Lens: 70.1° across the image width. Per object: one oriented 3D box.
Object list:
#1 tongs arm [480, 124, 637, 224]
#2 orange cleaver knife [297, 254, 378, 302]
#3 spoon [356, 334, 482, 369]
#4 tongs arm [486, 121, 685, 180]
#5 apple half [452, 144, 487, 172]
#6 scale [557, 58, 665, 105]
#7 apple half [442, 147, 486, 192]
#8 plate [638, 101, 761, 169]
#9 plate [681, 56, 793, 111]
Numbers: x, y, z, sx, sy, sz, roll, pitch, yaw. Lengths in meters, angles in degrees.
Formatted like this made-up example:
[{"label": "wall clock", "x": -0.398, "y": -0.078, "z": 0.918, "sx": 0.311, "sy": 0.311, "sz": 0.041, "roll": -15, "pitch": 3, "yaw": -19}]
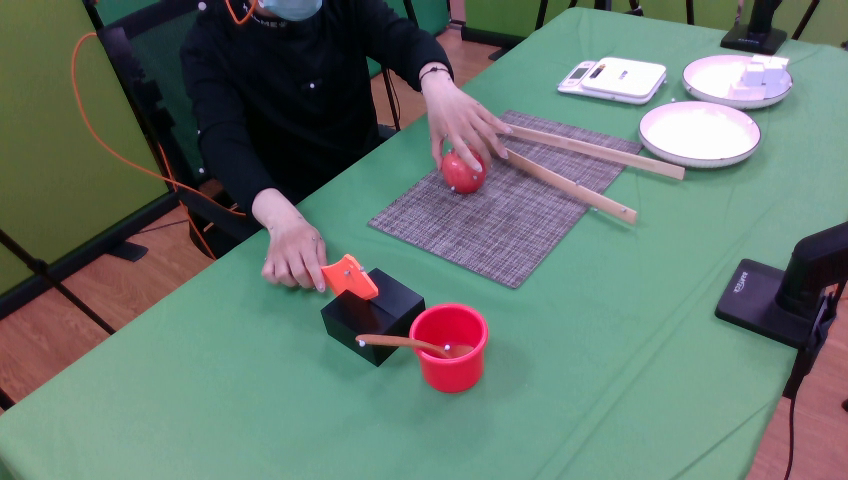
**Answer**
[{"label": "tongs arm", "x": 0.228, "y": -0.128, "z": 1.081, "sx": 0.051, "sy": 0.026, "sz": 0.381, "roll": -33, "pitch": 46, "yaw": -26}, {"label": "orange cleaver knife", "x": -0.129, "y": 0.058, "z": 0.874, "sx": 0.012, "sy": 0.077, "sz": 0.210, "roll": -37, "pitch": 16, "yaw": -30}, {"label": "spoon", "x": -0.001, "y": 0.130, "z": 0.731, "sx": 0.195, "sy": 0.021, "sz": 0.041, "roll": 21, "pitch": 28, "yaw": -39}, {"label": "tongs arm", "x": 0.287, "y": -0.170, "z": 1.124, "sx": 0.384, "sy": 0.028, "sz": 0.028, "roll": 21, "pitch": 52, "yaw": 29}, {"label": "apple half", "x": 0.087, "y": -0.142, "z": 1.082, "sx": 0.080, "sy": 0.081, "sz": 0.033, "roll": 24, "pitch": 53, "yaw": 32}, {"label": "scale", "x": 0.406, "y": -0.348, "z": 1.314, "sx": 0.199, "sy": 0.032, "sz": 0.149, "roll": 19, "pitch": 47, "yaw": 28}, {"label": "apple half", "x": 0.064, "y": -0.118, "z": 1.061, "sx": 0.080, "sy": 0.075, "sz": 0.053, "roll": 26, "pitch": 55, "yaw": 29}, {"label": "plate", "x": 0.500, "y": -0.189, "z": 1.111, "sx": 0.209, "sy": 0.038, "sz": 0.208, "roll": -4, "pitch": 41, "yaw": 4}, {"label": "plate", "x": 0.636, "y": -0.317, "z": 1.239, "sx": 0.207, "sy": 0.039, "sz": 0.206, "roll": -4, "pitch": 40, "yaw": 4}]
